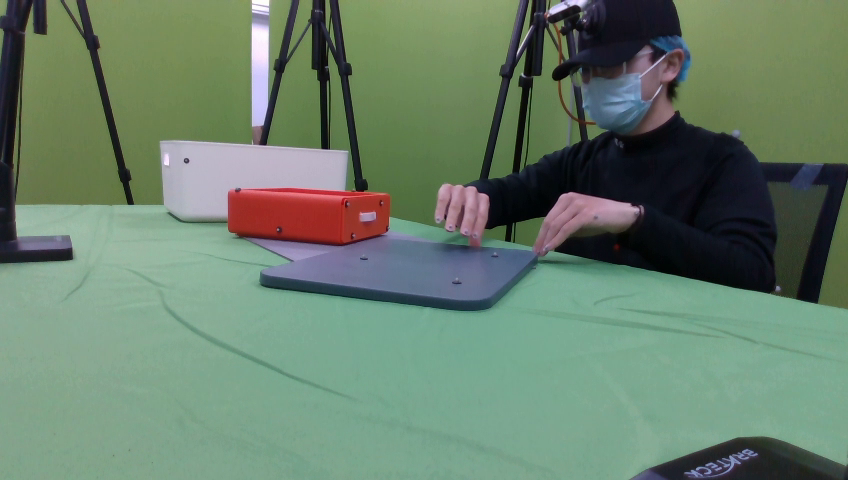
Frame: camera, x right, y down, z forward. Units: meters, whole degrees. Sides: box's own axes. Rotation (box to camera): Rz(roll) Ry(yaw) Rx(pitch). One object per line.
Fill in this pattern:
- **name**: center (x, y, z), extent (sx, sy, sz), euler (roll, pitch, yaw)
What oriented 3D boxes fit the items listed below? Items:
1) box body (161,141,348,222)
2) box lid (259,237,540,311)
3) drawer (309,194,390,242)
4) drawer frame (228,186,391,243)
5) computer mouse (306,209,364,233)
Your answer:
- **box body**: center (-0.379, -0.132, 1.352), extent (0.366, 0.160, 0.253), euler (-2, 8, -30)
- **box lid**: center (-0.004, 0.033, 0.775), extent (0.262, 0.015, 0.372), euler (5, 8, 18)
- **drawer**: center (-0.189, -0.048, 1.061), extent (0.211, 0.073, 0.195), euler (4, 8, 18)
- **drawer frame**: center (-0.193, -0.050, 1.060), extent (0.213, 0.082, 0.202), euler (4, 8, 17)
- **computer mouse**: center (-0.153, -0.032, 1.052), extent (0.062, 0.041, 0.117), euler (1, 0, 18)
